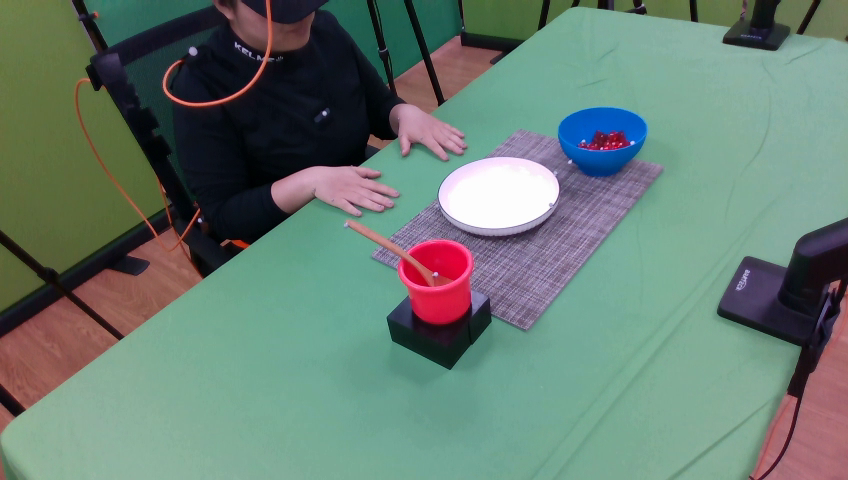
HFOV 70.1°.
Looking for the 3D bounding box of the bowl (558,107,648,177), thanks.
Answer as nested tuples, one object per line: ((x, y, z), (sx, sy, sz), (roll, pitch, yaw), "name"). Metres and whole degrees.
((0.313, -0.165, 1.069), (0.151, 0.077, 0.150), (-5, 40, 5), "bowl")

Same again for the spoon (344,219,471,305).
((-0.020, 0.026, 0.781), (0.194, 0.021, 0.041), (37, 43, -14), "spoon")

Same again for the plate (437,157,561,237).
((0.127, -0.070, 1.023), (0.207, 0.039, 0.206), (-5, 40, 5), "plate")
